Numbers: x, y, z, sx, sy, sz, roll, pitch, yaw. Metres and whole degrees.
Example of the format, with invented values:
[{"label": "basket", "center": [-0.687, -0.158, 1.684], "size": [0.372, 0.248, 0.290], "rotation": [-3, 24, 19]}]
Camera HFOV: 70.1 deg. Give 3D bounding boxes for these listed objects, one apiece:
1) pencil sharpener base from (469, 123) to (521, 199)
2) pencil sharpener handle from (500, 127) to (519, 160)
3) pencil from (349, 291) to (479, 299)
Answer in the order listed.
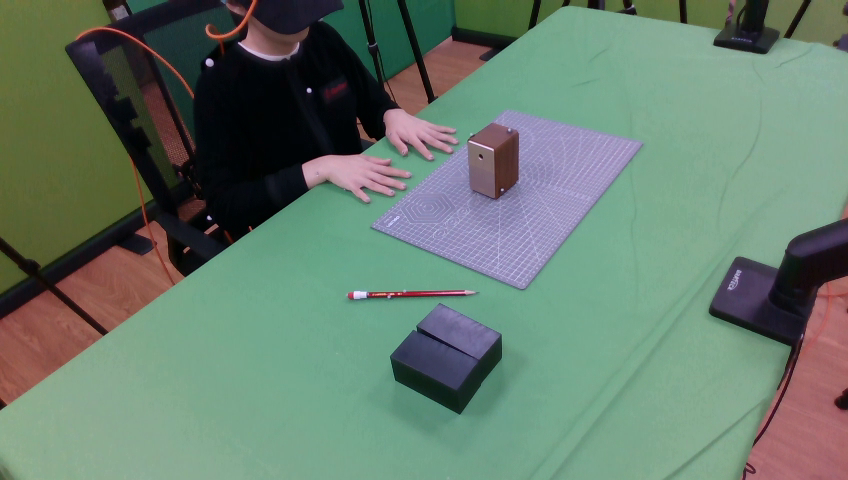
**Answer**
[{"label": "pencil sharpener base", "center": [0.126, -0.138, 1.049], "size": [0.061, 0.107, 0.077], "rotation": [26, 50, 34]}, {"label": "pencil sharpener handle", "center": [0.157, -0.175, 1.070], "size": [0.035, 0.068, 0.031], "rotation": [31, 53, 29]}, {"label": "pencil", "center": [-0.015, 0.081, 0.894], "size": [0.194, 0.012, 0.012], "rotation": [-1, 41, 6]}]
